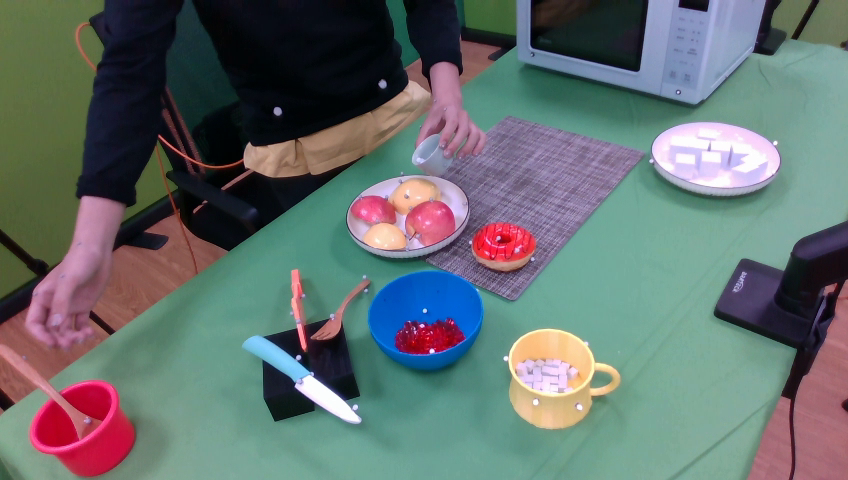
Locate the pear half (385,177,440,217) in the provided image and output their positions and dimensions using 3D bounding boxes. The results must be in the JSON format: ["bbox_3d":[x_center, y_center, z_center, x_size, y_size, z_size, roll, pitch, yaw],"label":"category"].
[{"bbox_3d":[-0.030,-0.079,1.033,0.109,0.056,0.076,0,36,15],"label":"pear half"}]

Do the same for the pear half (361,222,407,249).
[{"bbox_3d":[-0.063,-0.012,0.958,0.071,0.031,0.087,2,24,-25],"label":"pear half"}]

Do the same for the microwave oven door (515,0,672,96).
[{"bbox_3d":[0.343,-0.454,1.259,0.353,0.245,0.039,26,51,33],"label":"microwave oven door"}]

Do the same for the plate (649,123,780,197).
[{"bbox_3d":[0.497,-0.135,1.046,0.207,0.039,0.206,-4,40,4],"label":"plate"}]

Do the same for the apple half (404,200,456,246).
[{"bbox_3d":[0.009,-0.035,0.969,0.075,0.053,0.080,-27,40,-22],"label":"apple half"}]

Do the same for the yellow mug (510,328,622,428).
[{"bbox_3d":[0.168,0.164,0.722,0.130,0.064,0.099,0,40,8],"label":"yellow mug"}]

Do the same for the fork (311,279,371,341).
[{"bbox_3d":[-0.108,0.092,0.832,0.028,0.019,0.207,-6,19,15],"label":"fork"}]

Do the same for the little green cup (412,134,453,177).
[{"bbox_3d":[0.015,-0.132,0.956,0.061,0.039,0.061,-31,36,26],"label":"little green cup"}]

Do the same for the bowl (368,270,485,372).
[{"bbox_3d":[0.007,0.118,0.791,0.151,0.077,0.150,-5,40,4],"label":"bowl"}]

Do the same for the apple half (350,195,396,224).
[{"bbox_3d":[-0.080,-0.056,1.008,0.081,0.033,0.081,11,24,-4],"label":"apple half"}]

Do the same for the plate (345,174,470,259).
[{"bbox_3d":[-0.026,-0.037,1.004,0.209,0.038,0.208,-4,40,4],"label":"plate"}]

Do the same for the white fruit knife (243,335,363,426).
[{"bbox_3d":[-0.148,0.167,0.730,0.206,0.016,0.027,26,80,31],"label":"white fruit knife"}]

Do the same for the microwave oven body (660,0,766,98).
[{"bbox_3d":[0.472,-0.513,1.317,0.438,0.261,0.327,26,51,34],"label":"microwave oven body"}]

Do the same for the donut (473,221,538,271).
[{"bbox_3d":[0.123,0.008,0.923,0.099,0.048,0.098,-3,38,3],"label":"donut"}]

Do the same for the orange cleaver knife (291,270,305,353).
[{"bbox_3d":[-0.175,0.094,0.844,0.012,0.077,0.210,-11,14,-10],"label":"orange cleaver knife"}]

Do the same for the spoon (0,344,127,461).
[{"bbox_3d":[-0.433,0.191,0.720,0.194,0.021,0.042,47,52,-6],"label":"spoon"}]

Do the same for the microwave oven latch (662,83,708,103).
[{"bbox_3d":[0.518,-0.296,1.204,0.078,0.029,0.030,28,52,35],"label":"microwave oven latch"}]
